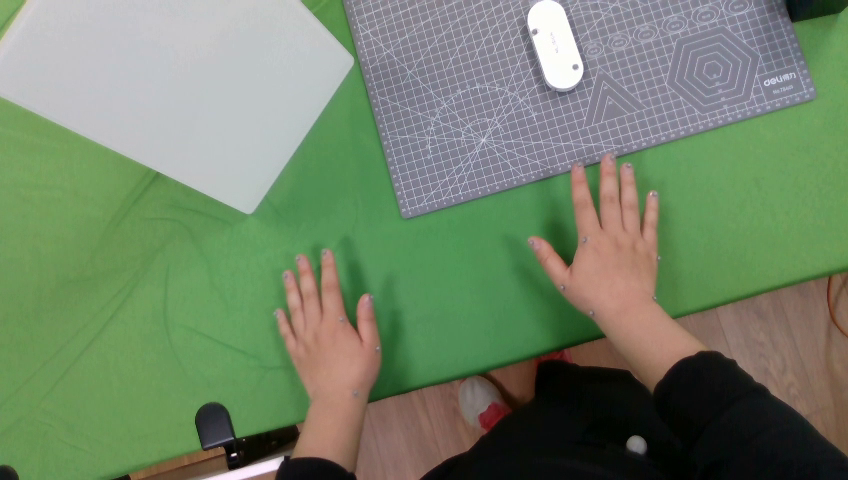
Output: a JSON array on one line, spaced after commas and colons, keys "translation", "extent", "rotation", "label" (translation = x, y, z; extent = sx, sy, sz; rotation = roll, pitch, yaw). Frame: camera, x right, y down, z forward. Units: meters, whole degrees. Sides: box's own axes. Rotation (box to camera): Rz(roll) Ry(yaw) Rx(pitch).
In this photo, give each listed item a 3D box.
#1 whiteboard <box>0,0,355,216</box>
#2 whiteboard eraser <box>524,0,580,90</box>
[{"translation": [-0.250, -0.192, 0.594], "extent": [0.142, 0.308, 0.217], "rotation": [35, 91, 29], "label": "whiteboard"}, {"translation": [0.137, -0.212, 0.653], "extent": [0.041, 0.019, 0.101], "rotation": [-17, 84, 6], "label": "whiteboard eraser"}]
